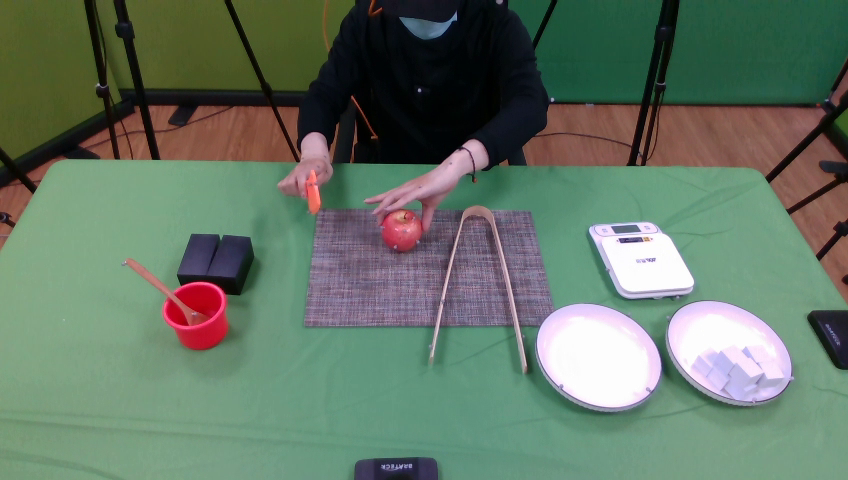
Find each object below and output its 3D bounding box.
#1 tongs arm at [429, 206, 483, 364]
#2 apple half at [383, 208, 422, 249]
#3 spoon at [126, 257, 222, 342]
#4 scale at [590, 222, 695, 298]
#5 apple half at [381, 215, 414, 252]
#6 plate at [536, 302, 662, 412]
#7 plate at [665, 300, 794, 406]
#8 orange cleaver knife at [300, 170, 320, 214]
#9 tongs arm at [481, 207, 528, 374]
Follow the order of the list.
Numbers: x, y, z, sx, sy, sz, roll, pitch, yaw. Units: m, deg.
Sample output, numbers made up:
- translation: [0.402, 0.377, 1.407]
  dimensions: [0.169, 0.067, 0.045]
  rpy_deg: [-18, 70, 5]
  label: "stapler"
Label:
- translation: [0.064, 0.069, 1.124]
  dimensions: [0.051, 0.026, 0.382]
  rpy_deg: [8, 45, 5]
  label: "tongs arm"
- translation: [-0.035, -0.025, 1.177]
  dimensions: [0.080, 0.075, 0.053]
  rpy_deg: [31, 49, 26]
  label: "apple half"
- translation: [-0.408, 0.096, 0.990]
  dimensions: [0.194, 0.021, 0.041]
  rpy_deg: [50, 53, -18]
  label: "spoon"
- translation: [0.424, 0.031, 1.189]
  dimensions: [0.149, 0.032, 0.199]
  rpy_deg: [-3, 46, -7]
  label: "scale"
- translation: [-0.059, -0.005, 1.154]
  dimensions: [0.081, 0.081, 0.033]
  rpy_deg: [32, 49, 24]
  label: "apple half"
- translation: [0.288, 0.196, 1.016]
  dimensions: [0.209, 0.038, 0.208]
  rpy_deg: [2, 46, -2]
  label: "plate"
- translation: [0.513, 0.194, 1.034]
  dimensions: [0.208, 0.039, 0.206]
  rpy_deg: [2, 46, -2]
  label: "plate"
- translation: [-0.211, -0.085, 1.120]
  dimensions: [0.012, 0.077, 0.211]
  rpy_deg: [-9, 5, -16]
  label: "orange cleaver knife"
- translation: [0.149, 0.078, 1.124]
  dimensions: [0.028, 0.028, 0.385]
  rpy_deg: [-4, 46, -2]
  label: "tongs arm"
